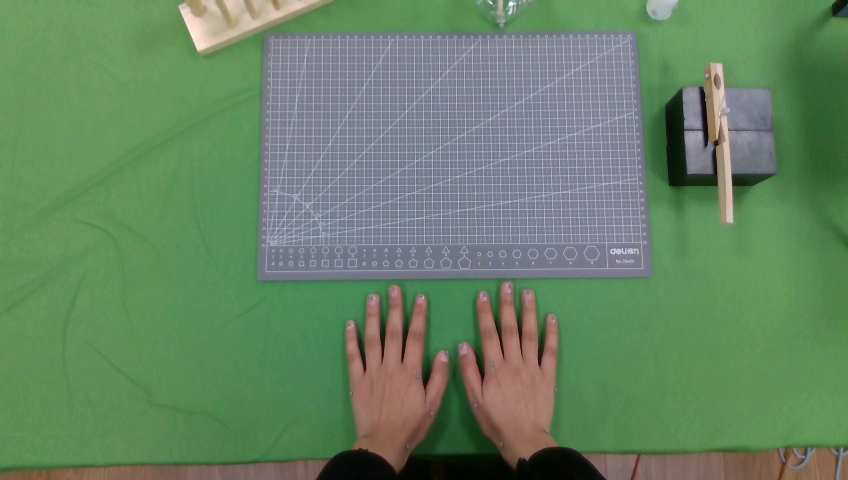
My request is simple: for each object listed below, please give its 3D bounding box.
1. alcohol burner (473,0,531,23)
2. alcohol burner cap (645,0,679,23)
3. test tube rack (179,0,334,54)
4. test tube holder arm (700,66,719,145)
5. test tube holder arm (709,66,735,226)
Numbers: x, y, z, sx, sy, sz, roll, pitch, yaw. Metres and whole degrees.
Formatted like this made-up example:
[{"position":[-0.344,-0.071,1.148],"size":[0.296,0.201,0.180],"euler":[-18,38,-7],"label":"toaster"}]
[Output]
[{"position":[0.092,-0.301,0.691],"size":[0.078,0.119,0.077],"euler":[0,81,-2],"label":"alcohol burner"},{"position":[0.289,-0.287,0.727],"size":[0.034,0.048,0.033],"euler":[0,80,1],"label":"alcohol burner cap"},{"position":[-0.170,-0.309,0.702],"size":[0.242,0.085,0.066],"euler":[-24,82,-4],"label":"test tube rack"},{"position":[0.316,-0.149,0.669],"size":[0.010,0.015,0.087],"euler":[-2,83,-3],"label":"test tube holder arm"},{"position":[0.325,-0.104,0.664],"size":[0.013,0.015,0.178],"euler":[-4,83,-3],"label":"test tube holder arm"}]
